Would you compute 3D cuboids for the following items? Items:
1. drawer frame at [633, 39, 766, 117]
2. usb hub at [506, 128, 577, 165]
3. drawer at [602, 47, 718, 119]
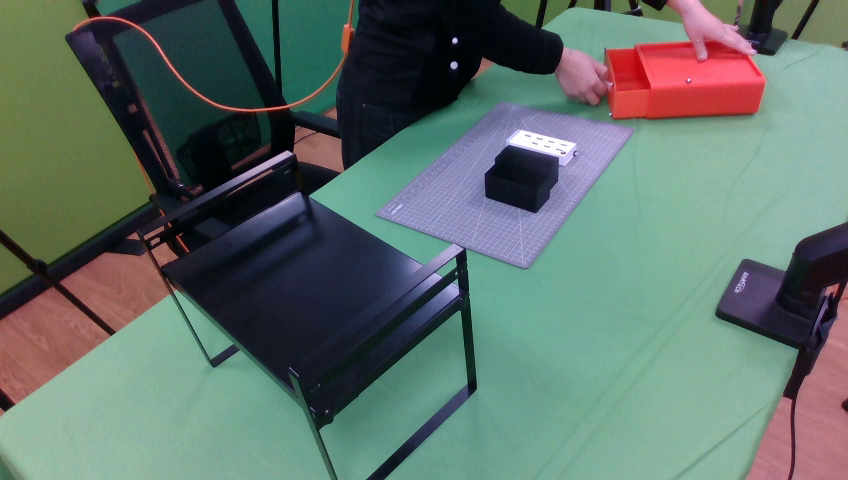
[{"bbox_3d":[0.544,-0.332,1.233,0.213,0.083,0.201,-1,41,6],"label":"drawer frame"},{"bbox_3d":[0.221,-0.177,1.142,0.124,0.025,0.049,22,49,30],"label":"usb hub"},{"bbox_3d":[0.481,-0.330,1.242,0.211,0.073,0.194,0,41,8],"label":"drawer"}]
